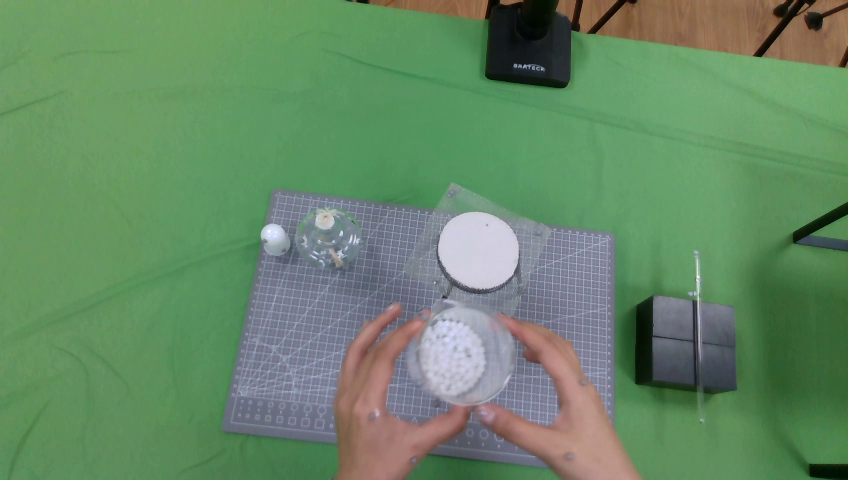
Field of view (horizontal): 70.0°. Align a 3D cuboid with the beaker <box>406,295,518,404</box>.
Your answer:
[{"bbox_3d":[0.023,0.089,0.489,0.074,0.100,0.083,-24,81,-13],"label":"beaker"}]

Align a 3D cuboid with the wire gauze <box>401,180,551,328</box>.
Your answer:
[{"bbox_3d":[0.056,0.010,0.632,0.125,0.011,0.121,28,71,4],"label":"wire gauze"}]

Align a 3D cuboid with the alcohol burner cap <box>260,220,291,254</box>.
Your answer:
[{"bbox_3d":[-0.182,-0.006,0.735,0.034,0.048,0.033,0,70,-1],"label":"alcohol burner cap"}]

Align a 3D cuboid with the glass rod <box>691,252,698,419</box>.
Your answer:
[{"bbox_3d":[0.318,0.109,0.712,0.008,0.008,0.198,9,71,-2],"label":"glass rod"}]

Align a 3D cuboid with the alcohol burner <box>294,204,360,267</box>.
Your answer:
[{"bbox_3d":[-0.113,-0.011,0.705,0.078,0.119,0.077,2,71,-6],"label":"alcohol burner"}]

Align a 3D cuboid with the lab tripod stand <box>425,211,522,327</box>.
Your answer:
[{"bbox_3d":[0.055,0.031,0.696,0.148,0.132,0.147,2,70,-5],"label":"lab tripod stand"}]
